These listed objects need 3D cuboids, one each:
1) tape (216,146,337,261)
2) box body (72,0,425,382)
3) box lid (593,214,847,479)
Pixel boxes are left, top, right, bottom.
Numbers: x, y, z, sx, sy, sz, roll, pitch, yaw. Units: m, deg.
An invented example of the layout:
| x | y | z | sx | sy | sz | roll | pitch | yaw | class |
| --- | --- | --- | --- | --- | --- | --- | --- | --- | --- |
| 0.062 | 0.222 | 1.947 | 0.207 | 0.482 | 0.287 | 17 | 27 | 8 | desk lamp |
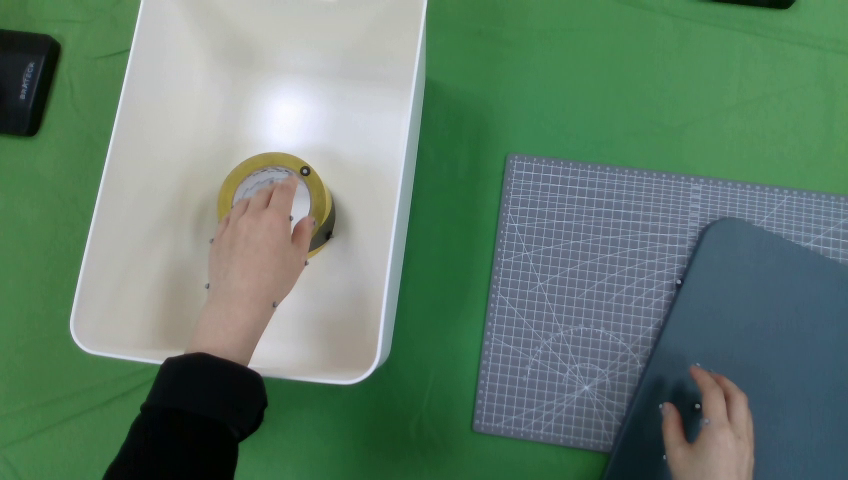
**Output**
| x | y | z | sx | sy | sz | roll | pitch | yaw | class |
| --- | --- | --- | --- | --- | --- | --- | --- | --- | --- |
| -0.152 | -0.035 | 0.633 | 0.117 | 0.053 | 0.116 | 0 | 81 | 2 | tape |
| -0.140 | -0.061 | 0.588 | 0.254 | 0.161 | 0.362 | 6 | 80 | 2 | box body |
| 0.344 | 0.177 | 0.608 | 0.263 | 0.015 | 0.370 | 25 | 82 | 5 | box lid |
